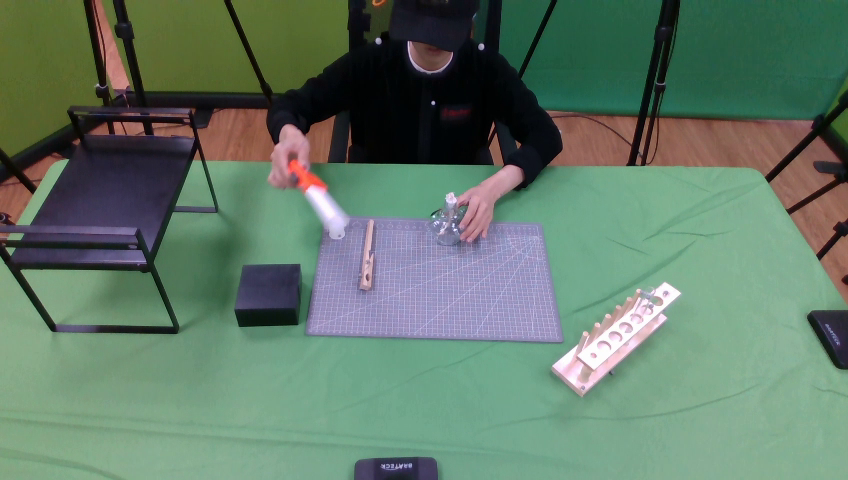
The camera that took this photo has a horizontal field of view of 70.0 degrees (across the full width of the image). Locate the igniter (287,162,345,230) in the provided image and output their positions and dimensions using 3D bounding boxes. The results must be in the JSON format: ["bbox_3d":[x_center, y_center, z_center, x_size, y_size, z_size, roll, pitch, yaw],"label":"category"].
[{"bbox_3d":[-0.189,-0.081,1.023,0.057,0.025,0.275,17,16,-32],"label":"igniter"}]

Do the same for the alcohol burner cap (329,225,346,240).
[{"bbox_3d":[-0.171,-0.026,1.190,0.034,0.048,0.033,1,47,-1],"label":"alcohol burner cap"}]

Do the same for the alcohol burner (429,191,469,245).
[{"bbox_3d":[0.051,-0.047,1.176,0.078,0.119,0.077,3,44,-2],"label":"alcohol burner"}]

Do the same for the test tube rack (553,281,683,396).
[{"bbox_3d":[0.329,0.153,1.023,0.242,0.085,0.066,-30,54,-28],"label":"test tube rack"}]

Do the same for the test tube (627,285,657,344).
[{"bbox_3d":[0.350,0.124,0.983,0.017,0.151,0.017,0,49,0],"label":"test tube"}]

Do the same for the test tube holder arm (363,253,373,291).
[{"bbox_3d":[-0.104,0.058,1.132,0.010,0.015,0.087,28,38,-26],"label":"test tube holder arm"}]

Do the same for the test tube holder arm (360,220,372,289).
[{"bbox_3d":[-0.110,0.024,1.161,0.013,0.015,0.177,27,38,-27],"label":"test tube holder arm"}]
